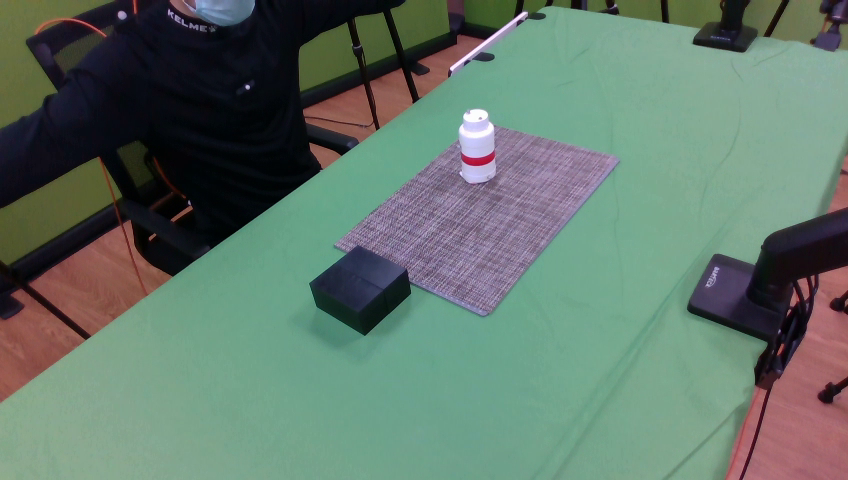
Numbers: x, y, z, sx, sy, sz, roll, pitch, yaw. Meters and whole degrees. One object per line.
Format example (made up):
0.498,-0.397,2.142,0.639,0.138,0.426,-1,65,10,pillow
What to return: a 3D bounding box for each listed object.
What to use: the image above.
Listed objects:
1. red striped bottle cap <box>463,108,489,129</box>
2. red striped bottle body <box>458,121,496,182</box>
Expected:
0.089,-0.208,1.034,0.044,0.018,0.044,-5,43,5,red striped bottle cap
0.094,-0.167,1.068,0.063,0.120,0.062,-5,41,4,red striped bottle body
